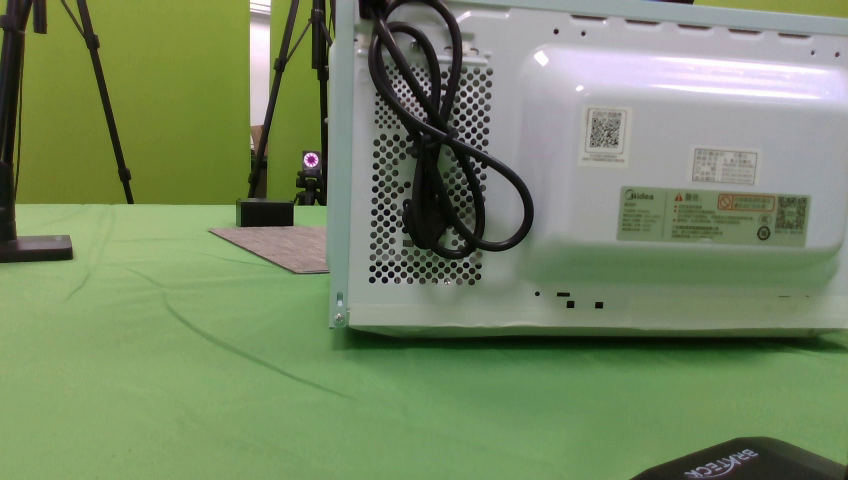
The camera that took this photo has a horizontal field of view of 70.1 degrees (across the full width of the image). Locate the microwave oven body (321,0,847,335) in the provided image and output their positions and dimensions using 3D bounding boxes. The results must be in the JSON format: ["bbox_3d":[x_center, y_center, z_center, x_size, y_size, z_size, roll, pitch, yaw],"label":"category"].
[{"bbox_3d":[0.133,-0.062,0.567,0.443,0.260,0.325,2,6,-8],"label":"microwave oven body"}]

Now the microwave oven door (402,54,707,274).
[{"bbox_3d":[0.157,-0.085,0.717,0.357,0.243,0.039,1,8,-8],"label":"microwave oven door"}]

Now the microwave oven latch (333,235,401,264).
[{"bbox_3d":[-0.065,0.011,0.700,0.079,0.029,0.030,2,6,-8],"label":"microwave oven latch"}]

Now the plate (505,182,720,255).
[{"bbox_3d":[0.184,-0.023,0.616,0.209,0.038,0.209,5,15,-1],"label":"plate"}]

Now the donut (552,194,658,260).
[{"bbox_3d":[0.171,-0.015,0.575,0.099,0.048,0.099,-11,14,3],"label":"donut"}]
